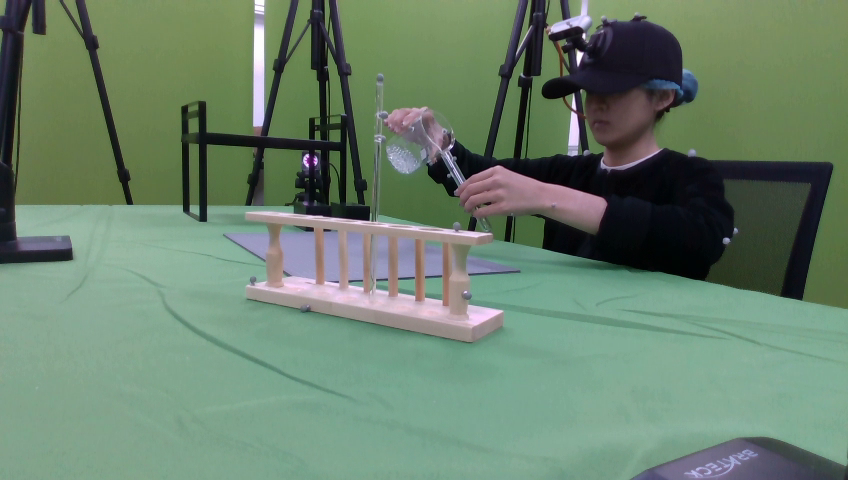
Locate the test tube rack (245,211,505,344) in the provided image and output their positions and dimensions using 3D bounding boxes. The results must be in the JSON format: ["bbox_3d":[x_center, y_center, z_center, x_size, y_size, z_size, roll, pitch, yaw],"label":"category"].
[{"bbox_3d":[-0.049,0.025,0.547,0.241,0.085,0.067,7,8,29],"label":"test tube rack"}]

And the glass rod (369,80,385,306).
[{"bbox_3d":[-0.041,-0.039,0.530,0.008,0.199,0.008,3,2,0],"label":"glass rod"}]

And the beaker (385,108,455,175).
[{"bbox_3d":[-0.008,-0.156,0.991,0.100,0.084,0.074,-30,-14,40],"label":"beaker"}]

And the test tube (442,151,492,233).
[{"bbox_3d":[0.066,-0.075,0.932,0.017,0.150,0.017,-24,-19,-9],"label":"test tube"}]
